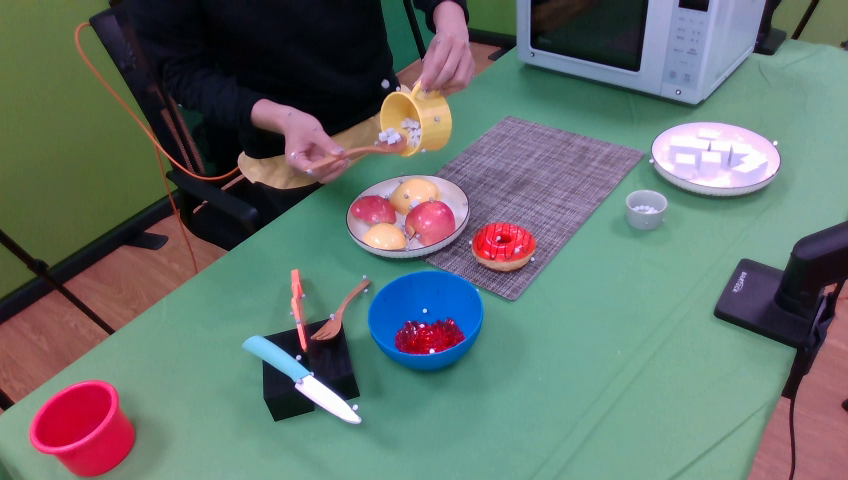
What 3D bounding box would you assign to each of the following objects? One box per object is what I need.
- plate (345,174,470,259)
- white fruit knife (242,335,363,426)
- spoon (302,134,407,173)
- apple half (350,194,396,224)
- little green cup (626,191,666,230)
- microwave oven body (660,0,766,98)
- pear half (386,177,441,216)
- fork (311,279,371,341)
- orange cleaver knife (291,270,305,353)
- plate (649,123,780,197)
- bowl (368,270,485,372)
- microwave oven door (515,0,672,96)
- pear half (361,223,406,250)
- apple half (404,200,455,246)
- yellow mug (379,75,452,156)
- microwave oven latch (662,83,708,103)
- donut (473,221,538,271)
[{"bbox_3d":[-0.026,-0.037,1.004,0.209,0.038,0.208,-4,40,4],"label":"plate"},{"bbox_3d":[-0.148,0.167,0.730,0.206,0.016,0.027,26,80,31],"label":"white fruit knife"},{"bbox_3d":[-0.100,-0.129,0.893,0.041,0.021,0.195,37,40,29],"label":"spoon"},{"bbox_3d":[-0.080,-0.056,1.008,0.081,0.033,0.081,10,25,-4],"label":"apple half"},{"bbox_3d":[0.352,-0.046,0.963,0.061,0.039,0.061,-4,40,4],"label":"little green cup"},{"bbox_3d":[0.472,-0.513,1.317,0.438,0.261,0.327,26,51,34],"label":"microwave oven body"},{"bbox_3d":[-0.029,-0.079,1.033,0.109,0.056,0.076,-1,36,15],"label":"pear half"},{"bbox_3d":[-0.108,0.092,0.832,0.028,0.019,0.207,-6,19,15],"label":"fork"},{"bbox_3d":[-0.175,0.094,0.844,0.012,0.077,0.210,-11,14,-10],"label":"orange cleaver knife"},{"bbox_3d":[0.497,-0.134,1.046,0.207,0.039,0.206,-4,40,4],"label":"plate"},{"bbox_3d":[0.007,0.118,0.791,0.151,0.077,0.150,-5,40,4],"label":"bowl"},{"bbox_3d":[0.344,-0.455,1.259,0.353,0.245,0.039,26,51,33],"label":"microwave oven door"},{"bbox_3d":[-0.063,-0.012,0.959,0.071,0.031,0.087,3,24,-25],"label":"pear half"},{"bbox_3d":[0.009,-0.035,0.969,0.075,0.053,0.080,-27,41,-22],"label":"apple half"},{"bbox_3d":[-0.010,-0.198,0.942,0.064,0.131,0.099,-21,55,-41],"label":"yellow mug"},{"bbox_3d":[0.517,-0.296,1.204,0.078,0.029,0.030,28,52,35],"label":"microwave oven latch"},{"bbox_3d":[0.123,0.008,0.923,0.099,0.048,0.098,-3,38,3],"label":"donut"}]
